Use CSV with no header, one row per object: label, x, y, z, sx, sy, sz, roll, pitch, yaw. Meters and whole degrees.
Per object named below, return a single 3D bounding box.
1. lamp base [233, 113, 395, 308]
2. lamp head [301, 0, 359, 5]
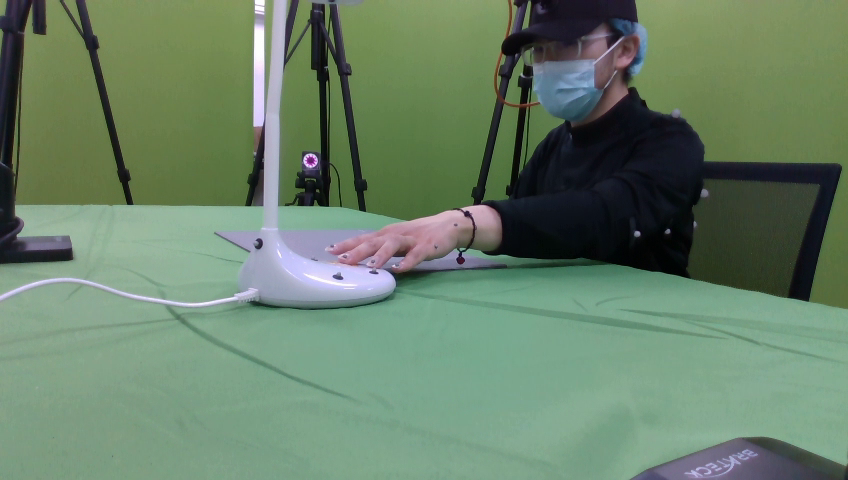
lamp base,-0.113,-0.033,0.600,0.160,0.180,0.180,6,11,28
lamp head,-0.095,-0.314,0.610,0.112,0.123,0.112,-4,50,5
